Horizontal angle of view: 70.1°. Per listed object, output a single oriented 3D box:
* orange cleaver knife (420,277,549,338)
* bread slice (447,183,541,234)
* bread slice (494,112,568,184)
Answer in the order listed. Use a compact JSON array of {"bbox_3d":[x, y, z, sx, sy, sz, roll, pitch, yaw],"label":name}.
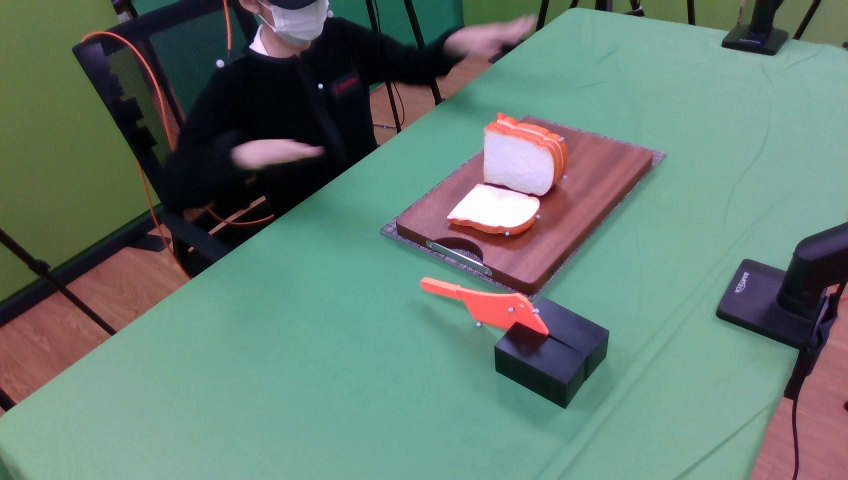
[{"bbox_3d":[0.076,0.089,0.813,0.209,0.077,0.012,9,43,47],"label":"orange cleaver knife"},{"bbox_3d":[0.117,-0.047,0.964,0.130,0.019,0.105,17,44,31],"label":"bread slice"},{"bbox_3d":[0.176,-0.145,1.015,0.133,0.107,0.018,26,50,23],"label":"bread slice"}]
